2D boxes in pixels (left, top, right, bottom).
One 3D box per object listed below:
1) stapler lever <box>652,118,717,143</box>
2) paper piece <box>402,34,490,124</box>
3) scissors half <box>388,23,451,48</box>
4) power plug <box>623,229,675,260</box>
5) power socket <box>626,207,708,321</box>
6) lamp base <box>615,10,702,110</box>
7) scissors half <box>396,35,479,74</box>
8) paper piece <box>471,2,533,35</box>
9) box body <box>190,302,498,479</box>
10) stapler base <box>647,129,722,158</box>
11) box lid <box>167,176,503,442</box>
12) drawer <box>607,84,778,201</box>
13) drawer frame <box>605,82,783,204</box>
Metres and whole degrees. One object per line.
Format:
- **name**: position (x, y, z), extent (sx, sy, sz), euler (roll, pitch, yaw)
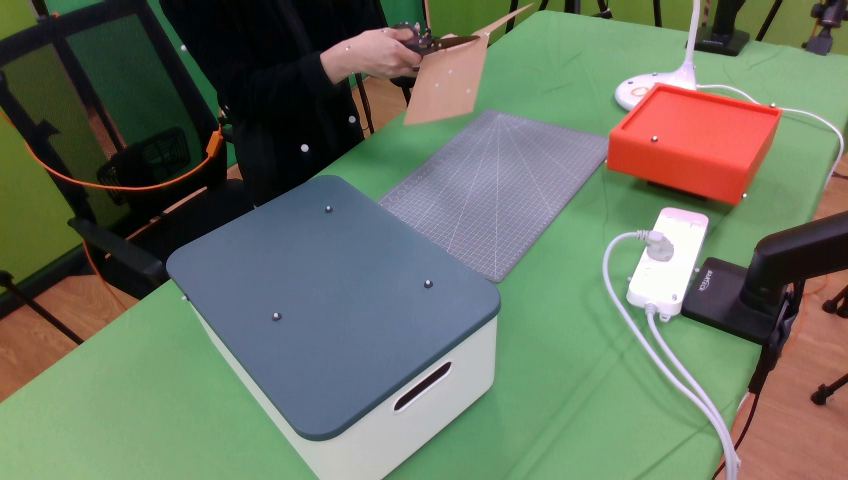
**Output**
- **stapler lever**: position (0.436, -0.192, 1.014), extent (0.118, 0.040, 0.026), euler (-16, 25, -16)
- **paper piece**: position (0.032, -0.242, 0.917), extent (0.134, 0.004, 0.135), euler (-2, 65, 41)
- **scissors half**: position (0.014, -0.318, 0.956), extent (0.174, 0.040, 0.013), euler (17, 49, 29)
- **power plug**: position (0.327, 0.007, 0.878), extent (0.072, 0.053, 0.035), euler (25, 51, 33)
- **power socket**: position (0.360, 0.026, 0.886), extent (0.072, 0.033, 0.227), euler (16, 46, 26)
- **lamp base**: position (0.484, -0.364, 1.211), extent (0.180, 0.181, 0.159), euler (-15, 41, -14)
- **scissors half**: position (0.020, -0.300, 0.967), extent (0.174, 0.040, 0.013), euler (-7, 29, 45)
- **paper piece**: position (0.092, -0.339, 0.982), extent (0.136, 0.009, 0.137), euler (-38, 18, -36)
- **box body**: position (-0.110, 0.103, 0.761), extent (0.255, 0.161, 0.361), euler (-33, 46, -27)
- **stapler base**: position (0.439, -0.167, 1.023), extent (0.131, 0.024, 0.041), euler (-16, 25, -15)
- **box lid**: position (-0.119, 0.047, 0.714), extent (0.264, 0.015, 0.368), euler (-32, 47, -27)
- **drawer**: position (0.438, -0.167, 0.995), extent (0.210, 0.073, 0.195), euler (23, 48, 30)
- **drawer frame**: position (0.441, -0.167, 0.995), extent (0.212, 0.083, 0.202), euler (23, 48, 30)
